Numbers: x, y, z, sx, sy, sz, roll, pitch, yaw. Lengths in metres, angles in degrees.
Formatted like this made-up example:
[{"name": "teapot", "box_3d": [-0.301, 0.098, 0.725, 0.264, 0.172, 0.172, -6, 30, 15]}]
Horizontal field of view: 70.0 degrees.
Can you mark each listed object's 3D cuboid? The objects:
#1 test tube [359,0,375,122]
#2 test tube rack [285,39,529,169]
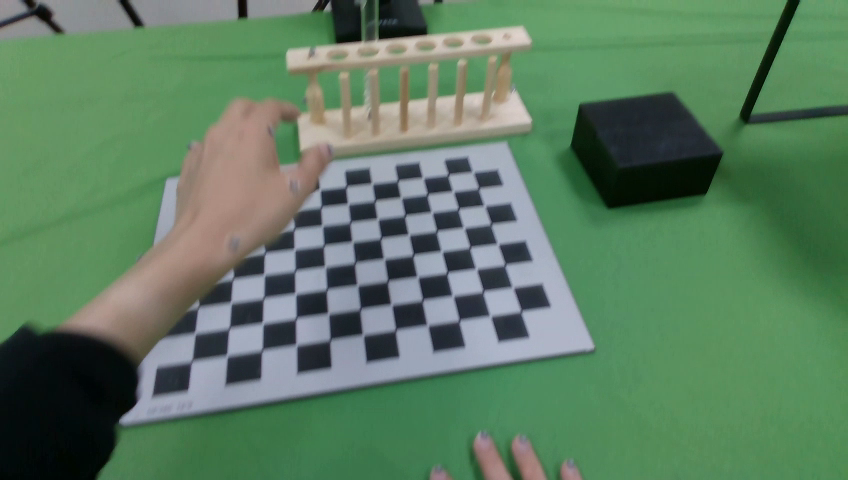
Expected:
[{"name": "test tube", "box_3d": [-0.056, -0.184, 0.597, 0.017, 0.151, 0.017, 2, 41, -2]}, {"name": "test tube rack", "box_3d": [-0.013, -0.142, 0.625, 0.243, 0.086, 0.066, -8, 45, -8]}]
